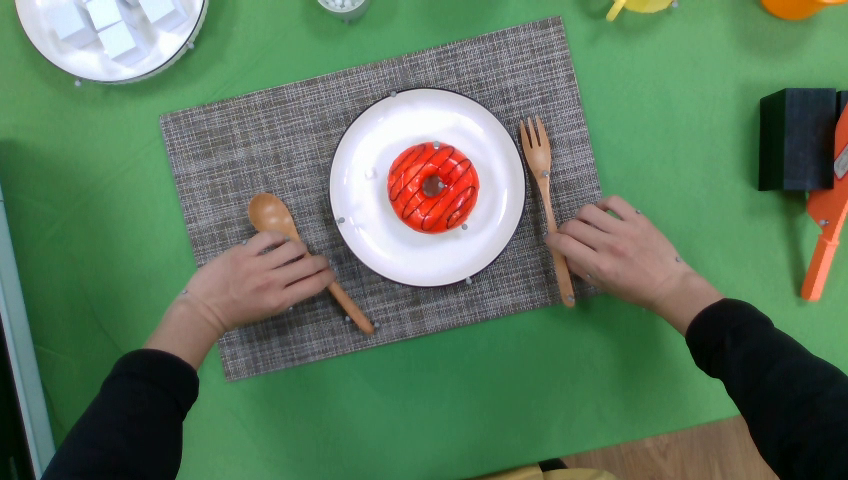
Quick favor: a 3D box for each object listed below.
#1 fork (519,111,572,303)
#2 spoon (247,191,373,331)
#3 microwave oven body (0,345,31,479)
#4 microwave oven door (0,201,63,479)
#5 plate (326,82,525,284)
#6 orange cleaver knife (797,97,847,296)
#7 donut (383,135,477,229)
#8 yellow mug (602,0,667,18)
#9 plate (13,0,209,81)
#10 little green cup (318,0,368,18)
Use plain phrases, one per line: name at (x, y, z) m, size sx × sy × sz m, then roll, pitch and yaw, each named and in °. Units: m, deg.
fork at (0.131, -0.035, 0.643) m, size 0.028 × 0.019 × 0.207 m, roll -12°, pitch 86°, yaw 6°
spoon at (-0.121, 0.025, 0.654) m, size 0.194 × 0.021 × 0.041 m, roll 48°, pitch 57°, yaw 0°
microwave oven body at (-0.594, 0.119, 0.553) m, size 0.326 × 0.260 × 0.442 m, roll -11°, pitch 92°, yaw 1°
microwave oven door at (-0.443, 0.134, 0.545) m, size 0.039 × 0.243 × 0.356 m, roll -11°, pitch 92°, yaw 2°
plate at (0.002, -0.059, 0.642) m, size 0.209 × 0.038 × 0.209 m, roll 0°, pitch 92°, yaw 2°
orange cleaver knife at (0.411, -0.041, 0.614) m, size 0.012 × 0.076 × 0.213 m, roll 2°, pitch 122°, yaw 4°
donut at (0.006, -0.060, 0.631) m, size 0.099 × 0.048 × 0.099 m, roll 0°, pitch 93°, yaw 3°
yellow mug at (0.223, -0.284, 0.617) m, size 0.100 × 0.064 × 0.131 m, roll 34°, pitch 94°, yaw 0°
plate at (-0.327, -0.271, 0.645) m, size 0.207 × 0.039 × 0.207 m, roll 0°, pitch 92°, yaw 2°
little green cup at (-0.086, -0.267, 0.639) m, size 0.061 × 0.038 × 0.061 m, roll 0°, pitch 91°, yaw 2°
